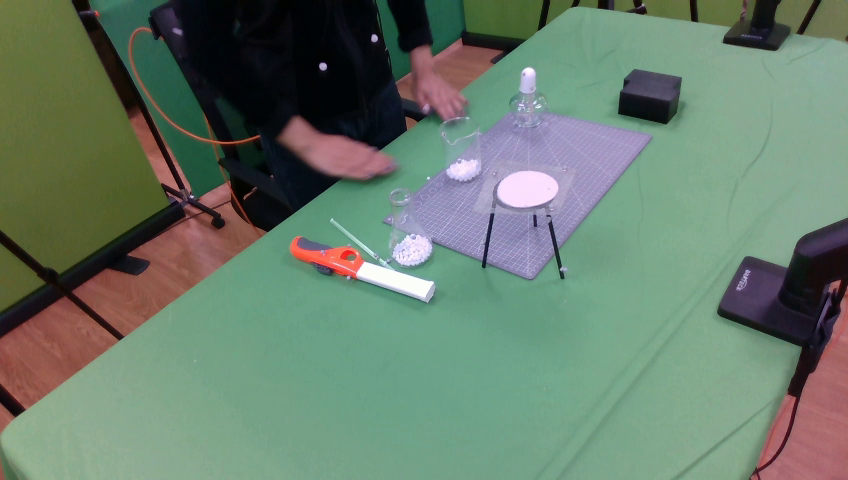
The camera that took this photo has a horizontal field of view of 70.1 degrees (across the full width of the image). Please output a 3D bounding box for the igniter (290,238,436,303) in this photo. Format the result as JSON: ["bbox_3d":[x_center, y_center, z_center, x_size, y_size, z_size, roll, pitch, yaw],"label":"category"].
[{"bbox_3d":[-0.106,0.044,0.949,0.274,0.025,0.057,16,57,27],"label":"igniter"}]

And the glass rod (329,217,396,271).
[{"bbox_3d":[-0.105,0.005,1.009,0.008,0.008,0.198,-32,46,-24],"label":"glass rod"}]

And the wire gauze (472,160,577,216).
[{"bbox_3d":[0.143,-0.073,0.850,0.121,0.011,0.125,8,43,22],"label":"wire gauze"}]

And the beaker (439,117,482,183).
[{"bbox_3d":[0.068,-0.160,1.097,0.073,0.101,0.084,7,43,19],"label":"beaker"}]

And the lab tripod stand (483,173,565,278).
[{"bbox_3d":[0.151,-0.025,0.896,0.148,0.132,0.147,-7,40,6],"label":"lab tripod stand"}]

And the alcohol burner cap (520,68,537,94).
[{"bbox_3d":[0.205,-0.313,1.183,0.034,0.048,0.033,-3,50,4],"label":"alcohol burner cap"}]

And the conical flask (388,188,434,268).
[{"bbox_3d":[-0.028,-0.022,0.937,0.075,0.122,0.075,-6,40,5],"label":"conical flask"}]

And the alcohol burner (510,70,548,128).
[{"bbox_3d":[0.209,-0.287,1.208,0.078,0.119,0.077,-5,42,5],"label":"alcohol burner"}]
